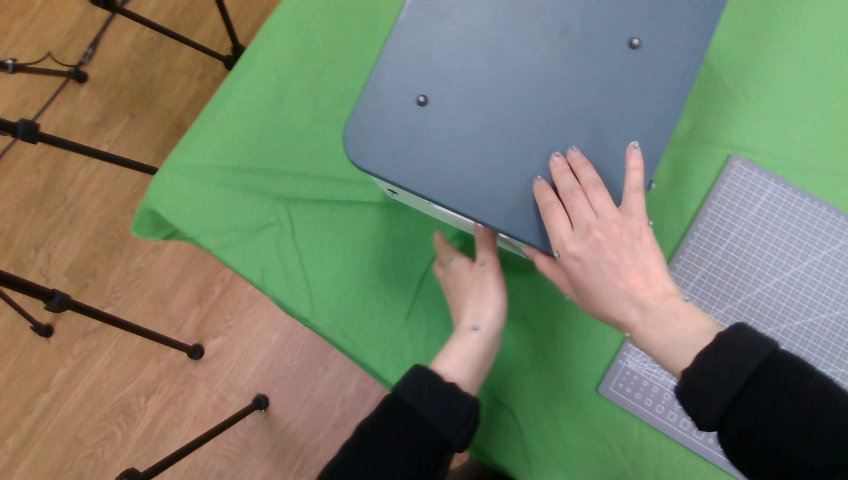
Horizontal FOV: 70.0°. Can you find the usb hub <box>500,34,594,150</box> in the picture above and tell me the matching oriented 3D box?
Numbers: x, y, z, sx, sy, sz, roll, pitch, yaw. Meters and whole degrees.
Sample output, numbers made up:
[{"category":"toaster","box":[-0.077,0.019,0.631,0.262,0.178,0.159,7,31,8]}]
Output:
[{"category":"usb hub","box":[0.136,-0.164,0.668,0.049,0.025,0.125,30,83,10]}]

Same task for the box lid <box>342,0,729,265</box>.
[{"category":"box lid","box":[0.111,-0.185,0.538,0.262,0.015,0.371,25,84,7]}]

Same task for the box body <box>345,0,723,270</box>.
[{"category":"box body","box":[0.118,-0.175,0.610,0.253,0.161,0.363,25,84,7]}]
